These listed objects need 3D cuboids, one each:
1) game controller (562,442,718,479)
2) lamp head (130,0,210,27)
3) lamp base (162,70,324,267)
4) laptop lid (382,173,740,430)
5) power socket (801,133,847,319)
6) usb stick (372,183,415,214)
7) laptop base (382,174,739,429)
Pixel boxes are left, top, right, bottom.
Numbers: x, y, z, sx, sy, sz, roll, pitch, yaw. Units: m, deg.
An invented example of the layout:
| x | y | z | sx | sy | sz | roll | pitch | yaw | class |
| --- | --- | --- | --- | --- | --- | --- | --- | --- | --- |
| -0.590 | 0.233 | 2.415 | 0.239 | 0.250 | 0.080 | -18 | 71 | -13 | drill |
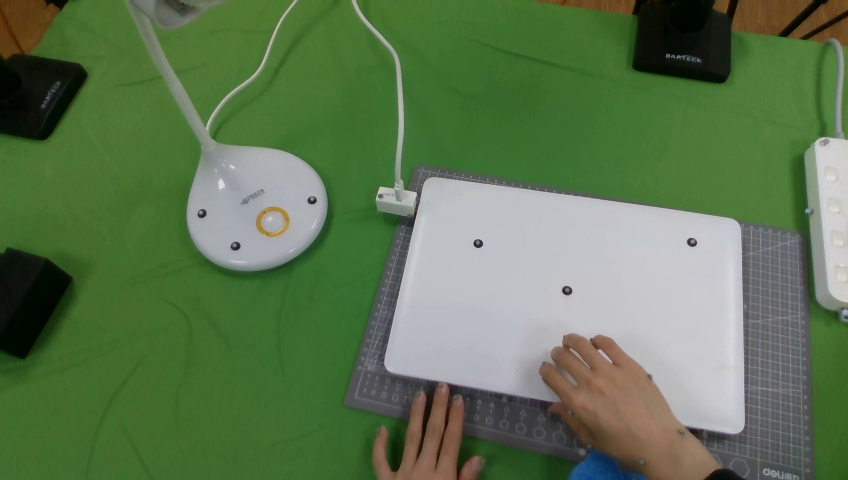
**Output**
| x | y | z | sx | sy | sz | roll | pitch | yaw | class |
| --- | --- | --- | --- | --- | --- | --- | --- | --- | --- |
| 0.196 | 0.239 | 0.537 | 0.155 | 0.052 | 0.096 | 11 | 62 | 7 | game controller |
| -0.172 | -0.208 | 0.360 | 0.123 | 0.112 | 0.112 | 37 | 69 | -6 | lamp head |
| -0.209 | -0.083 | 0.638 | 0.178 | 0.182 | 0.160 | 37 | 70 | 21 | lamp base |
| 0.148 | 0.052 | 0.635 | 0.356 | 0.013 | 0.240 | 10 | 67 | 7 | laptop lid |
| 0.462 | -0.024 | 0.665 | 0.072 | 0.033 | 0.225 | 10 | 64 | 6 | power socket |
| -0.027 | -0.046 | 0.689 | 0.059 | 0.027 | 0.021 | 12 | 60 | 5 | usb stick |
| 0.149 | 0.055 | 0.647 | 0.354 | 0.023 | 0.234 | 9 | 68 | 6 | laptop base |
